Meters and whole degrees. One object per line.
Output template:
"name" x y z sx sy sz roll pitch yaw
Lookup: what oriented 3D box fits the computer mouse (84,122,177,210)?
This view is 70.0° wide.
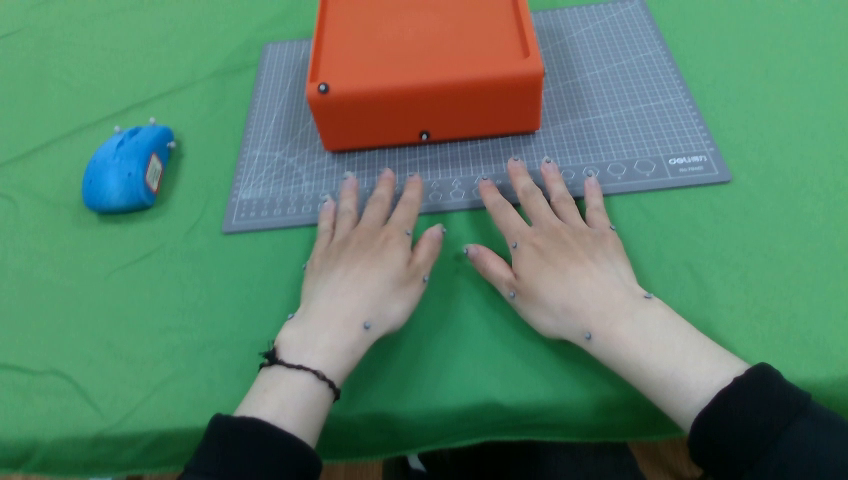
"computer mouse" -0.288 -0.079 0.596 0.063 0.041 0.116 -6 47 5

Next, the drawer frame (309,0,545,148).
"drawer frame" 0.005 -0.193 0.614 0.213 0.083 0.199 -6 52 4

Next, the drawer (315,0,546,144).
"drawer" 0.007 -0.192 0.614 0.211 0.074 0.192 -5 52 4
